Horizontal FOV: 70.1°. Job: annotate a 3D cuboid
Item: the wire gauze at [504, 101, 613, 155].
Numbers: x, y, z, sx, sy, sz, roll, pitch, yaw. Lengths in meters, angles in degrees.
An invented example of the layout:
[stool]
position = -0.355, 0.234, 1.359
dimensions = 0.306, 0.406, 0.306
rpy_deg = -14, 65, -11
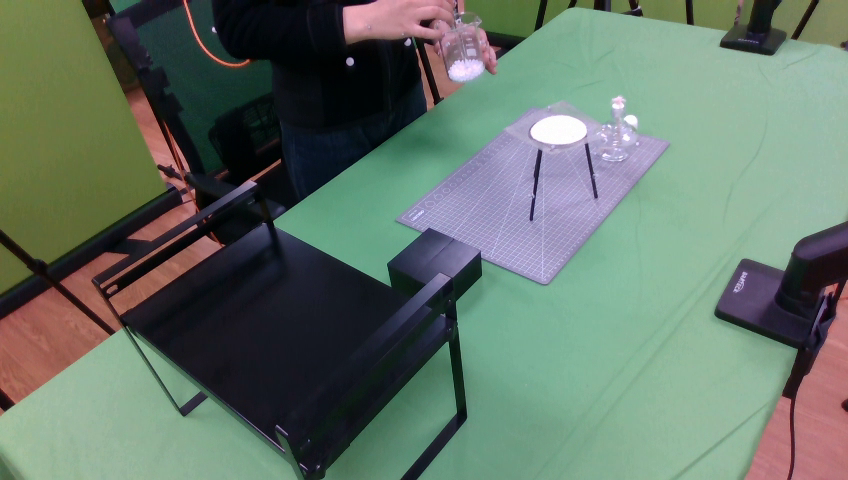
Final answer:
[wire gauze]
position = 0.211, -0.176, 0.955
dimensions = 0.125, 0.011, 0.120
rpy_deg = -24, 44, -18

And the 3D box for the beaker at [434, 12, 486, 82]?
[beaker]
position = 0.068, -0.337, 1.059
dimensions = 0.083, 0.101, 0.074
rpy_deg = 0, 43, 20

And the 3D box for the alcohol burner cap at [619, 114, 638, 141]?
[alcohol burner cap]
position = 0.389, -0.215, 1.145
dimensions = 0.034, 0.048, 0.033
rpy_deg = -4, 41, 4

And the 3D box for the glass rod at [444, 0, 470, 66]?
[glass rod]
position = 0.045, -0.375, 1.003
dimensions = 0.008, 0.201, 0.008
rpy_deg = -14, 43, 14

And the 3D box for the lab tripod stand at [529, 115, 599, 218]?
[lab tripod stand]
position = 0.217, -0.123, 0.995
dimensions = 0.148, 0.132, 0.147
rpy_deg = -4, 42, 4

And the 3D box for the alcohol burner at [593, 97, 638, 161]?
[alcohol burner]
position = 0.345, -0.203, 1.083
dimensions = 0.078, 0.119, 0.077
rpy_deg = -5, 42, 5
